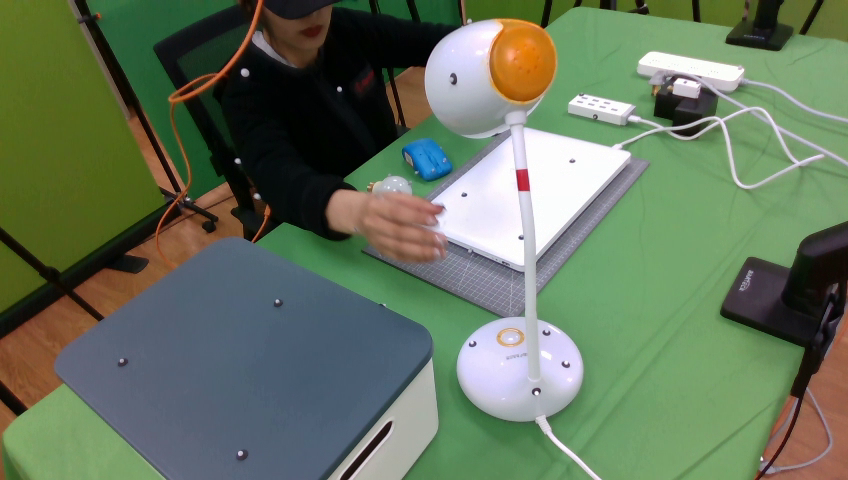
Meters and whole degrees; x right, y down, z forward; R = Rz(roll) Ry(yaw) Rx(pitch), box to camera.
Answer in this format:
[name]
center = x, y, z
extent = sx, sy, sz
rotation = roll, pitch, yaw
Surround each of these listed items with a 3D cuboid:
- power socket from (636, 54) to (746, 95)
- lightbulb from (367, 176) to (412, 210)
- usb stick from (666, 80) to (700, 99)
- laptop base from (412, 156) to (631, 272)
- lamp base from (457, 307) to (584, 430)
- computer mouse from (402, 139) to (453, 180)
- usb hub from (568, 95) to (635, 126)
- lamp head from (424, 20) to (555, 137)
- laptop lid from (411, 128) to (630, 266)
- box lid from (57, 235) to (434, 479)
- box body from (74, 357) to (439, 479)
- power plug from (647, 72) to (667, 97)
[power socket]
center = 0.564, -0.357, 1.293
extent = 0.225, 0.033, 0.072
rotation = 24, 51, 33
[lightbulb]
center = -0.066, -0.086, 1.084
extent = 0.060, 0.060, 0.107
rotation = -38, 32, -30
[usb stick]
center = 0.492, -0.288, 1.152
extent = 0.058, 0.027, 0.021
rotation = 20, 50, 34
[laptop base]
center = 0.176, -0.084, 1.055
extent = 0.233, 0.023, 0.355
rotation = 21, 48, 36
[lamp base]
center = 0.116, 0.108, 0.713
extent = 0.161, 0.181, 0.178
rotation = -16, 43, -8
[computer mouse]
center = 0.005, -0.159, 1.165
extent = 0.063, 0.041, 0.116
rotation = -21, 45, -17
[usb hub]
center = 0.360, -0.263, 1.228
extent = 0.124, 0.025, 0.049
rotation = 24, 49, 34
[lamp head]
center = 0.069, -0.153, 0.572
extent = 0.113, 0.112, 0.122
rotation = -22, 16, -14
[laptop lid]
center = 0.172, -0.093, 1.049
extent = 0.239, 0.013, 0.358
rotation = 24, 50, 36
[box lid]
center = -0.198, 0.123, 0.653
extent = 0.368, 0.015, 0.264
rotation = 22, 49, 32
[box body]
center = -0.189, 0.178, 0.702
extent = 0.361, 0.161, 0.255
rotation = 22, 49, 32
[power plug]
center = 0.493, -0.321, 1.261
extent = 0.073, 0.052, 0.035
rotation = 1, 20, -41
